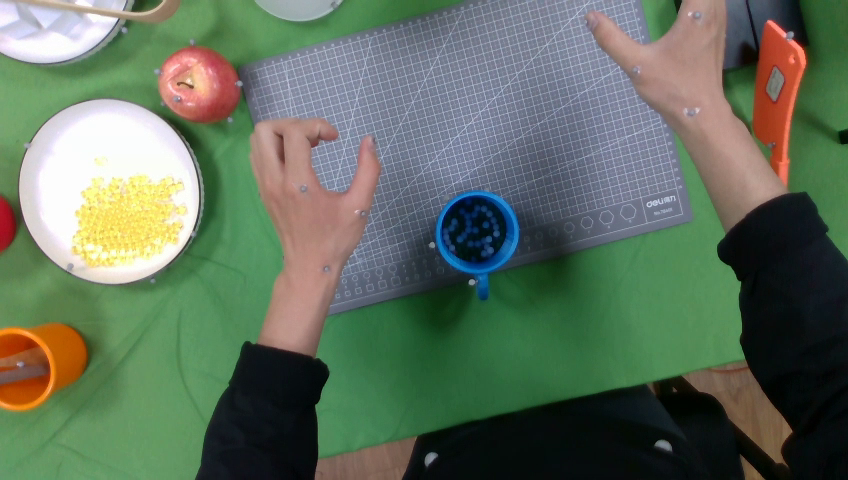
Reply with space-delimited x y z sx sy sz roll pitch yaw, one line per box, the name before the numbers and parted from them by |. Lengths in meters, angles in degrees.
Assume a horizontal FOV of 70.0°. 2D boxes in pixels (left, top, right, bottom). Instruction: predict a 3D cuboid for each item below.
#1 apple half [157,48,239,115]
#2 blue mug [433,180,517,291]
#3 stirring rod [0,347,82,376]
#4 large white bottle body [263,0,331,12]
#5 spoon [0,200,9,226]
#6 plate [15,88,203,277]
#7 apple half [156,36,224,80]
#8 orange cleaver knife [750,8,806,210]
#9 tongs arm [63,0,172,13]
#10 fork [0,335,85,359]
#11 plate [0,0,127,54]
apple half | -0.235 -0.164 0.655 0.081 0.074 0.053 -30 97 1
blue mug | 0.054 -0.004 0.641 0.082 0.106 0.116 -7 95 3
stirring rod | -0.469 0.143 0.654 0.177 0.006 0.014 -10 83 -38
large white bottle body | -0.143 -0.311 0.582 0.130 0.184 0.130 0 94 2
spoon | -0.558 -0.020 0.643 0.194 0.021 0.041 -11 94 -41
plate | -0.349 -0.064 0.685 0.209 0.038 0.209 0 96 2
apple half | -0.255 -0.198 0.651 0.081 0.081 0.033 -30 98 4
orange cleaver knife | 0.362 -0.130 0.631 0.012 0.076 0.213 -15 125 3
tongs arm | -0.452 -0.288 0.635 0.384 0.026 0.051 14 92 3
fork | -0.482 0.126 0.650 0.208 0.018 0.028 -1 95 -41
plate | -0.416 -0.308 0.665 0.207 0.039 0.208 0 96 2
